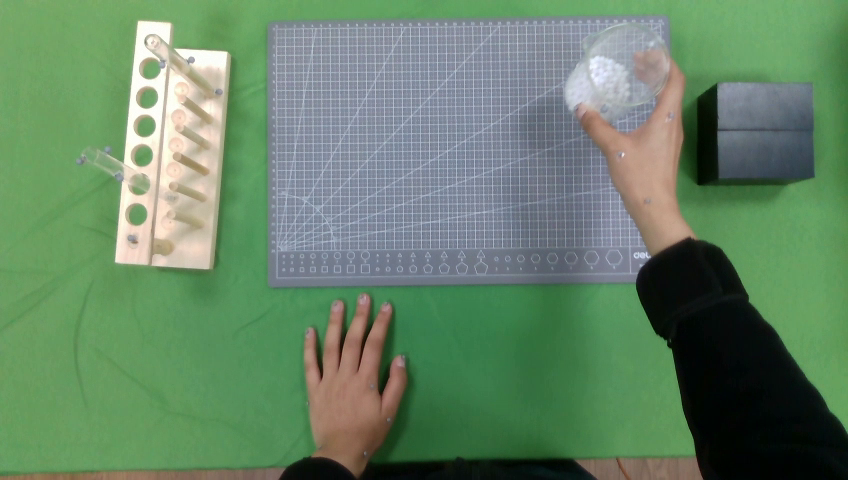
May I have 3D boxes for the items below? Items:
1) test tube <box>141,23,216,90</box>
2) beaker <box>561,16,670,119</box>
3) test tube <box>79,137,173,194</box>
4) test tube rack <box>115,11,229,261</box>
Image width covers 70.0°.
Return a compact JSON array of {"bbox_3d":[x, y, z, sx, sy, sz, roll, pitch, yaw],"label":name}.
[{"bbox_3d":[-0.237,-0.177,0.593,0.017,0.150,0.017,0,87,0],"label":"test tube"},{"bbox_3d":[0.174,-0.160,0.579,0.084,0.100,0.074,31,88,0],"label":"beaker"},{"bbox_3d":[-0.281,-0.068,0.585,0.017,0.151,0.017,0,80,3],"label":"test tube"},{"bbox_3d":[-0.261,-0.101,0.636,0.067,0.085,0.242,4,88,1],"label":"test tube rack"}]
